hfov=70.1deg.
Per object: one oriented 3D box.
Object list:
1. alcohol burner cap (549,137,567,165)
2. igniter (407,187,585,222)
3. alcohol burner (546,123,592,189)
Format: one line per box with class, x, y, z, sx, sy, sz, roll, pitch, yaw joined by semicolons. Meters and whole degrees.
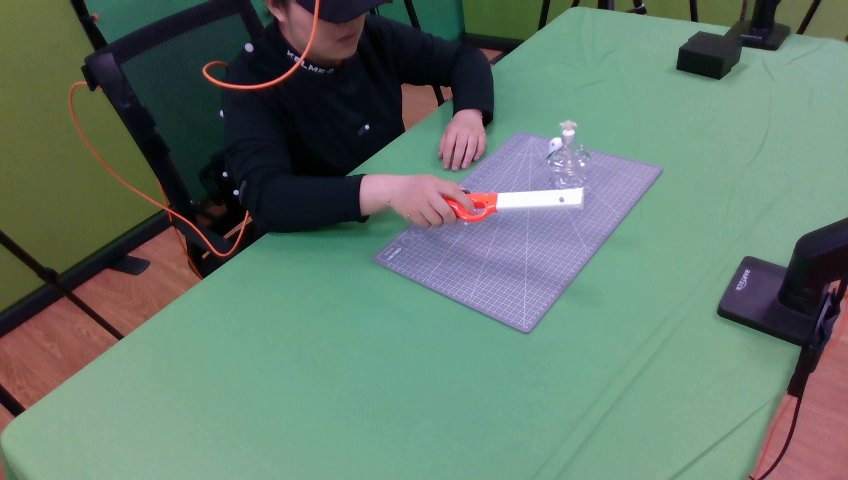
alcohol burner cap;0.247;-0.166;1.114;0.034;0.048;0.033;-6;40;5
igniter;0.103;-0.055;0.921;0.275;0.025;0.057;-3;60;22
alcohol burner;0.248;-0.147;1.034;0.078;0.120;0.077;-7;41;6
